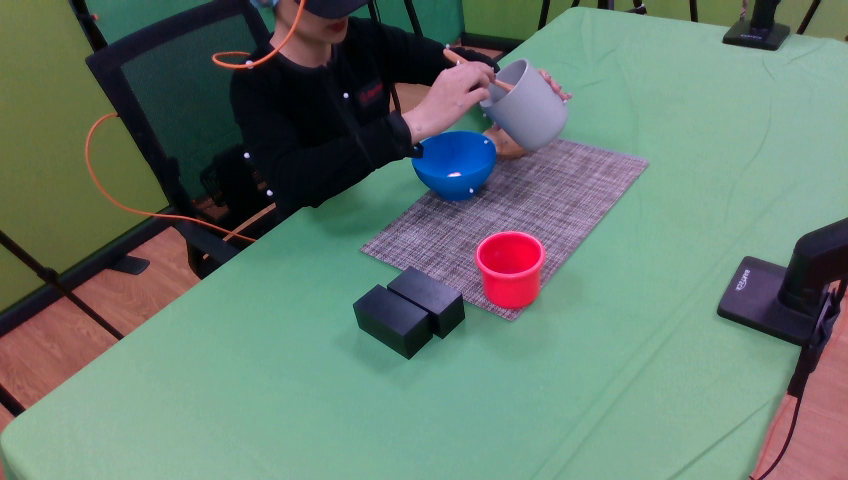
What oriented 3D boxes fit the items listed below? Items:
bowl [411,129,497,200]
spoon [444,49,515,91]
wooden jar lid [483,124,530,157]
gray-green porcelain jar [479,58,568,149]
[{"bbox_3d":[0.056,-0.124,1.069,0.151,0.077,0.150,-5,40,5],"label":"bowl"},{"bbox_3d":[0.117,-0.256,0.973,0.194,0.041,0.021,24,-1,-11],"label":"spoon"},{"bbox_3d":[0.165,-0.195,1.177,0.108,0.021,0.108,-4,40,4],"label":"wooden jar lid"},{"bbox_3d":[0.173,-0.225,1.025,0.105,0.127,0.105,-37,30,26],"label":"gray-green porcelain jar"}]
